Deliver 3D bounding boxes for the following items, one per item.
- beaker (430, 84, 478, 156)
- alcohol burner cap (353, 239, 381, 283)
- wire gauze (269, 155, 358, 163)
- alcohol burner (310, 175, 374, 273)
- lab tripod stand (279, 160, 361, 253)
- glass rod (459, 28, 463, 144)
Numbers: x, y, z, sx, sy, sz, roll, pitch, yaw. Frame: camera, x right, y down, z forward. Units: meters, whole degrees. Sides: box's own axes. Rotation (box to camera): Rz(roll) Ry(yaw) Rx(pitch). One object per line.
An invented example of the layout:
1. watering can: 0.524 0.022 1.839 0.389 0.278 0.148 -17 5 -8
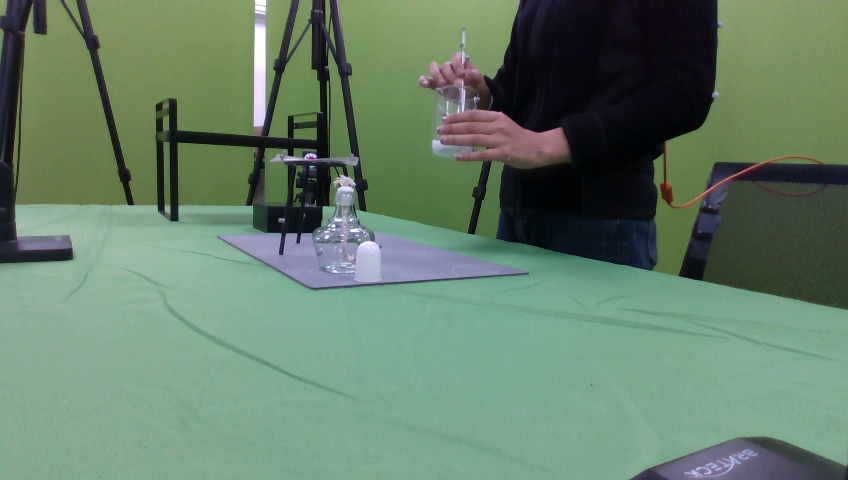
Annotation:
1. beaker: 0.045 -0.189 0.961 0.073 0.100 0.084 -1 -5 36
2. alcohol burner cap: -0.065 0.023 0.689 0.034 0.048 0.034 2 9 0
3. wire gauze: -0.159 -0.118 0.886 0.122 0.011 0.125 1 7 -9
4. alcohol burner: -0.100 -0.020 0.741 0.078 0.119 0.078 1 6 0
5. lab tripod stand: -0.166 -0.052 0.897 0.148 0.131 0.148 0 7 0
6. glass rod: 0.059 -0.247 0.961 0.008 0.199 0.008 1 -13 1
